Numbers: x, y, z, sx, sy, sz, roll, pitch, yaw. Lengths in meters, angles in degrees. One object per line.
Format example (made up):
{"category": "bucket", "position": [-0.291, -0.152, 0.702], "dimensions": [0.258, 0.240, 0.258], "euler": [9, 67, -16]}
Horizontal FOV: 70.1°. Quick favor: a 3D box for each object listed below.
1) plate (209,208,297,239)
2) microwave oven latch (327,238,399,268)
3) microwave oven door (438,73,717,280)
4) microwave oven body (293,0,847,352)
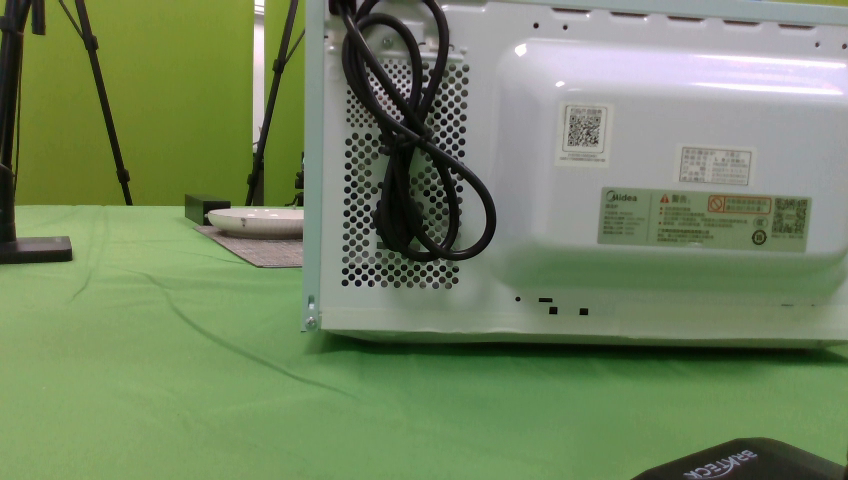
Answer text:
{"category": "plate", "position": [-0.271, -0.029, 1.074], "dimensions": [0.208, 0.039, 0.207], "euler": [3, 7, 0]}
{"category": "microwave oven latch", "position": [-0.069, 0.015, 0.694], "dimensions": [0.079, 0.029, 0.030], "euler": [3, 7, -3]}
{"category": "microwave oven door", "position": [0.183, -0.090, 0.799], "dimensions": [0.354, 0.243, 0.039], "euler": [7, 8, 32]}
{"category": "microwave oven body", "position": [0.122, -0.055, 0.550], "dimensions": [0.442, 0.260, 0.325], "euler": [3, 7, -5]}
